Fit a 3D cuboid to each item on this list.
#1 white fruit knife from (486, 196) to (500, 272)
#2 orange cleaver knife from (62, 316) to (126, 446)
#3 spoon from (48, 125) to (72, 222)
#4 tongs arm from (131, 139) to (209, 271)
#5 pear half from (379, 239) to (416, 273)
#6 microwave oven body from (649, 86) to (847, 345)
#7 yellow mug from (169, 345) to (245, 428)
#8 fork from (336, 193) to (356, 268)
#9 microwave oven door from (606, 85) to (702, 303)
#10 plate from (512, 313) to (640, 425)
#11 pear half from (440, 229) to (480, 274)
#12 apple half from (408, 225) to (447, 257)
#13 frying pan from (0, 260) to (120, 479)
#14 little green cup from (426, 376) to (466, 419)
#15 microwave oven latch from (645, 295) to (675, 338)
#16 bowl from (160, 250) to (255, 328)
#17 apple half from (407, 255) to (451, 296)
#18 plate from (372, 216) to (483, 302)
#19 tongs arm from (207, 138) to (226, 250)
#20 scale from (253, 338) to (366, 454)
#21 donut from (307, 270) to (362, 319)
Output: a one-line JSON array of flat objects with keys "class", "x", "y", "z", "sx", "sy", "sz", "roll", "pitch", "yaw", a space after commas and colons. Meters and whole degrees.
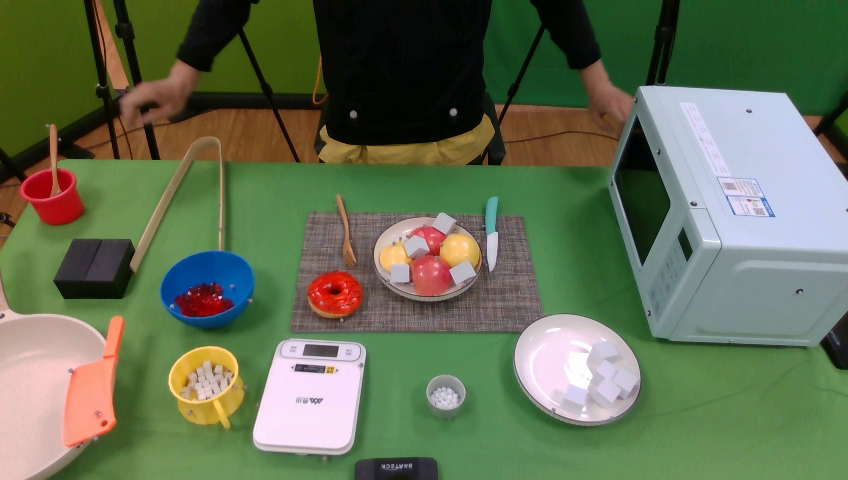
[{"class": "white fruit knife", "x": 0.138, "y": -0.015, "z": 1.221, "sx": 0.027, "sy": 0.016, "sz": 0.206, "roll": -2, "pitch": 46, "yaw": 10}, {"class": "orange cleaver knife", "x": -0.480, "y": 0.199, "z": 0.888, "sx": 0.077, "sy": 0.012, "sz": 0.210, "roll": -8, "pitch": 46, "yaw": -9}, {"class": "spoon", "x": -0.718, "y": -0.131, "z": 1.189, "sx": 0.041, "sy": 0.021, "sz": 0.193, "roll": -4, "pitch": 90, "yaw": -7}, {"class": "tongs arm", "x": -0.514, "y": -0.085, "z": 1.238, "sx": 0.028, "sy": 0.028, "sz": 0.385, "roll": 0, "pitch": 45, "yaw": 5}, {"class": "pear half", "x": -0.048, "y": 0.024, "z": 1.147, "sx": 0.070, "sy": 0.031, "sz": 0.087, "roll": 12, "pitch": 47, "yaw": -11}, {"class": "microwave oven body", "x": 0.567, "y": -0.053, "z": 1.118, "sx": 0.326, "sy": 0.261, "sz": 0.439, "roll": 2, "pitch": 45, "yaw": -1}, {"class": "yellow mug", "x": -0.322, "y": 0.230, "z": 0.922, "sx": 0.100, "sy": 0.064, "sz": 0.130, "roll": -24, "pitch": 53, "yaw": -25}, {"class": "fork", "x": -0.158, "y": -0.025, "z": 1.207, "sx": 0.019, "sy": 0.028, "sz": 0.206, "roll": 15, "pitch": 37, "yaw": -28}, {"class": "microwave oven door", "x": 0.423, "y": -0.094, "z": 1.140, "sx": 0.039, "sy": 0.245, "sz": 0.353, "roll": 2, "pitch": 46, "yaw": -1}, {"class": "plate", "x": 0.246, "y": 0.213, "z": 0.999, "sx": 0.208, "sy": 0.039, "sz": 0.206, "roll": 2, "pitch": 46, "yaw": -2}, {"class": "pear half", "x": 0.065, "y": 0.007, "z": 1.150, "sx": 0.076, "sy": 0.056, "sz": 0.109, "roll": -10, "pitch": 43, "yaw": -3}, {"class": "apple half", "x": 0.010, "y": -0.006, "z": 1.176, "sx": 0.081, "sy": 0.033, "sz": 0.081, "roll": 0, "pitch": 52, "yaw": 0}, {"class": "frying pan", "x": -0.647, "y": 0.164, "z": 0.936, "sx": 0.307, "sy": 0.103, "sz": 0.485, "roll": -19, "pitch": 58, "yaw": -22}, {"class": "little green cup", "x": 0.033, "y": 0.248, "z": 0.950, "sx": 0.061, "sy": 0.039, "sz": 0.061, "roll": 2, "pitch": 46, "yaw": -2}, {"class": "microwave oven latch", "x": 0.411, "y": 0.134, "z": 1.061, "sx": 0.030, "sy": 0.029, "sz": 0.078, "roll": 3, "pitch": 45, "yaw": 0}, {"class": "bowl", "x": -0.362, "y": 0.098, "z": 1.040, "sx": 0.151, "sy": 0.077, "sz": 0.150, "roll": 2, "pitch": 45, "yaw": -2}, {"class": "apple half", "x": 0.011, "y": 0.058, "z": 1.103, "sx": 0.075, "sy": 0.053, "sz": 0.080, "roll": -6, "pitch": 43, "yaw": -13}, {"class": "plate", "x": 0.006, "y": 0.038, "z": 1.145, "sx": 0.209, "sy": 0.038, "sz": 0.208, "roll": 2, "pitch": 46, "yaw": -2}, {"class": "tongs arm", "x": -0.431, "y": -0.090, "z": 1.245, "sx": 0.051, "sy": 0.026, "sz": 0.382, "roll": -8, "pitch": 46, "yaw": -7}, {"class": "scale", "x": -0.175, "y": 0.236, "z": 0.951, "sx": 0.149, "sy": 0.032, "sz": 0.199, "roll": 4, "pitch": 45, "yaw": -1}, {"class": "donut", "x": -0.158, "y": 0.097, "z": 1.073, "sx": 0.099, "sy": 0.048, "sz": 0.098, "roll": 4, "pitch": 45, "yaw": -4}]
